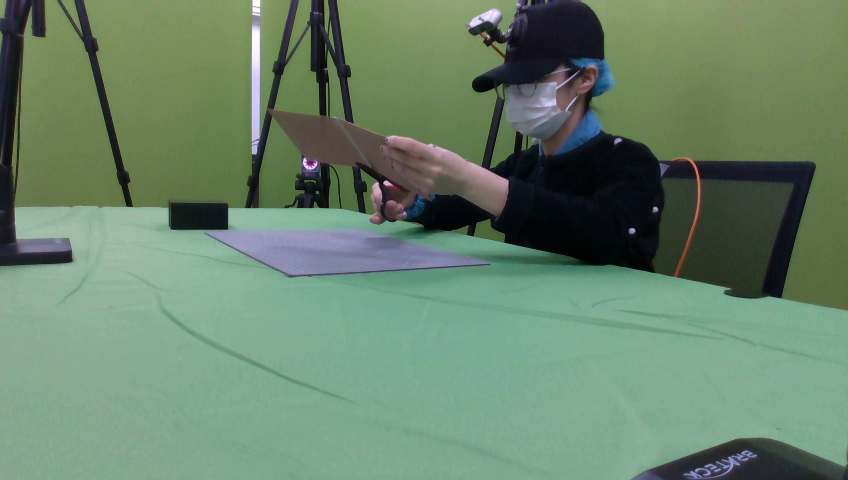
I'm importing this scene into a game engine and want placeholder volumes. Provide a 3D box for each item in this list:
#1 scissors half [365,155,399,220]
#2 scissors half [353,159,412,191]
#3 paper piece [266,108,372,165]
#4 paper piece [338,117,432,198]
[{"bbox_3d":[-0.077,-0.095,1.025,0.012,0.175,0.040,19,57,32],"label":"scissors half"},{"bbox_3d":[-0.067,-0.116,1.031,0.013,0.040,0.176,14,2,32],"label":"scissors half"},{"bbox_3d":[-0.166,-0.163,0.968,0.135,0.004,0.136,10,-23,26],"label":"paper piece"},{"bbox_3d":[-0.057,-0.123,0.905,0.137,0.008,0.136,30,-12,32],"label":"paper piece"}]
